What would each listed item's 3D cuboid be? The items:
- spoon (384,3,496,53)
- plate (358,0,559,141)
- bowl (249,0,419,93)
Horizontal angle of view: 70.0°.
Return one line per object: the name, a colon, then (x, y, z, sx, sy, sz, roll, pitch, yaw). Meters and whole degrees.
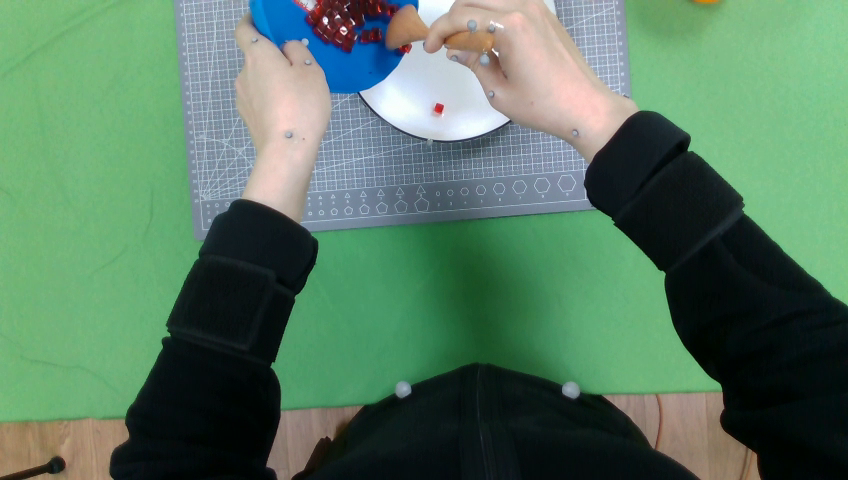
spoon: (0.008, -0.152, 0.445, 0.022, 0.191, 0.041, 25, 99, -32)
plate: (0.025, -0.199, 0.589, 0.209, 0.038, 0.209, 0, 91, 3)
bowl: (-0.085, -0.202, 0.498, 0.076, 0.153, 0.151, 25, 93, 43)
